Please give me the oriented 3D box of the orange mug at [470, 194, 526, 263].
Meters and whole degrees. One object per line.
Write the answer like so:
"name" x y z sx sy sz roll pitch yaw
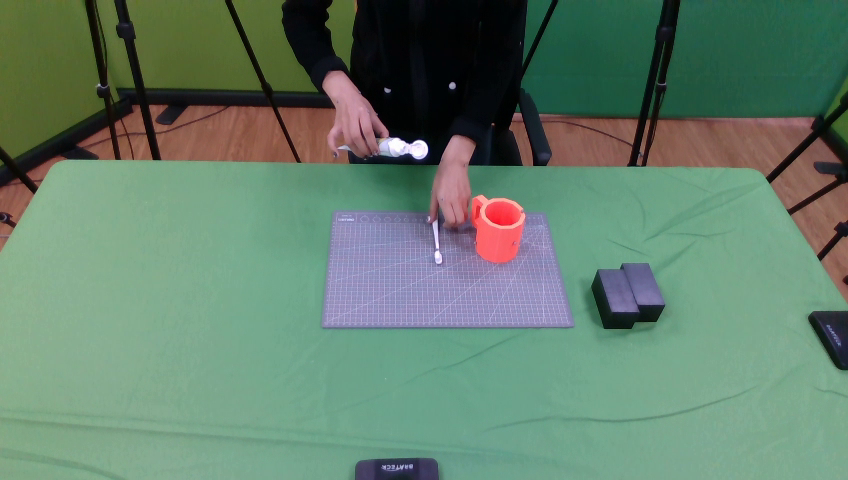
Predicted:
"orange mug" 0.136 -0.030 1.180 0.083 0.101 0.125 -26 58 -26

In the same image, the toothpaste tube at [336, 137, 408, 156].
"toothpaste tube" -0.095 -0.182 1.155 0.164 0.034 0.055 11 27 39

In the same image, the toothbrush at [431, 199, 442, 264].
"toothbrush" 0.024 -0.022 1.221 0.014 0.017 0.180 -20 42 16

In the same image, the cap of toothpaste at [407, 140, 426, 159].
"cap of toothpaste" -0.014 -0.168 1.117 0.037 0.037 0.011 22 8 17
